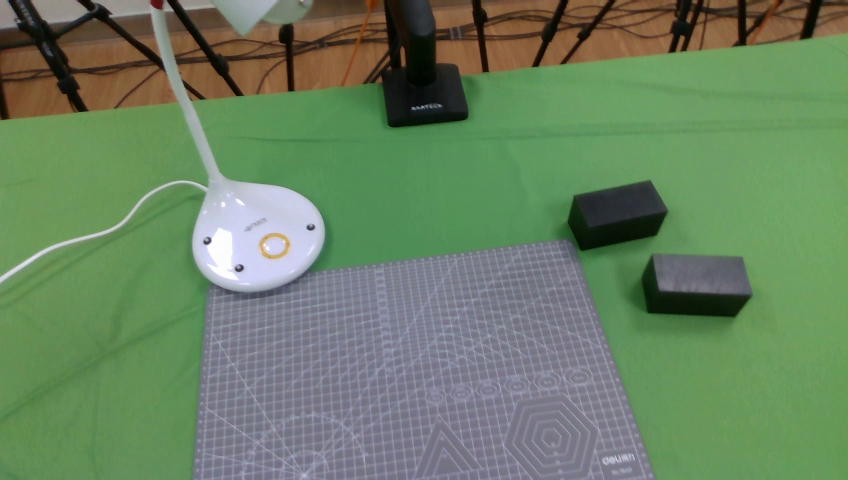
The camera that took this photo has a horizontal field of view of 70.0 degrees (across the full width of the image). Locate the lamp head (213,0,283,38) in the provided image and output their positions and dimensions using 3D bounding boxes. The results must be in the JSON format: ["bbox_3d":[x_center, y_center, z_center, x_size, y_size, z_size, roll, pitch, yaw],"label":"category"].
[{"bbox_3d":[-0.149,-0.241,0.483,0.124,0.112,0.112,39,55,-21],"label":"lamp head"}]

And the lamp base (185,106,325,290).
[{"bbox_3d":[-0.216,-0.057,0.699,0.178,0.182,0.160,31,59,25],"label":"lamp base"}]
